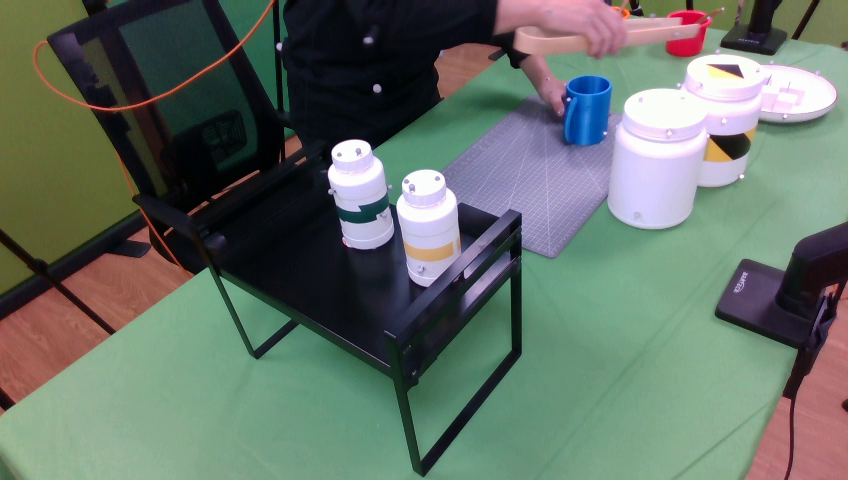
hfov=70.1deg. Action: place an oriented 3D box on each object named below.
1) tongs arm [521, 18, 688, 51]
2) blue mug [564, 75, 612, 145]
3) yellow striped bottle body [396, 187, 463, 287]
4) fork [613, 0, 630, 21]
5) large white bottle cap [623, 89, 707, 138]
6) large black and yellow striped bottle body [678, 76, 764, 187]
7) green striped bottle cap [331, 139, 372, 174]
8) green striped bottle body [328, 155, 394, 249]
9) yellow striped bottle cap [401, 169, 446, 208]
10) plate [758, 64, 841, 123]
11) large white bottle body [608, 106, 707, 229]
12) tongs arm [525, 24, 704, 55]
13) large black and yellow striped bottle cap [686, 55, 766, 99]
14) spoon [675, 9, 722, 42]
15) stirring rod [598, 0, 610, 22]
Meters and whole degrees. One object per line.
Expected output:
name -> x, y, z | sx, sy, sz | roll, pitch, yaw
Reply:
tongs arm -> 0.319, -0.350, 1.021 | 0.387, 0.026, 0.050 | -11, 40, -24
blue mug -> 0.300, -0.238, 1.142 | 0.081, 0.106, 0.117 | 28, 53, 34
yellow striped bottle body -> 0.006, -0.013, 0.638 | 0.063, 0.121, 0.062 | -5, 41, 4
fork -> 0.480, -0.556, 1.453 | 0.028, 0.019, 0.207 | 41, 103, 40
large white bottle cap -> 0.352, -0.187, 0.886 | 0.115, 0.018, 0.114 | -4, 42, 4
large black and yellow striped bottle body -> 0.482, -0.196, 1.008 | 0.131, 0.185, 0.130 | -4, 41, 4
green striped bottle cap -> -0.080, -0.092, 0.665 | 0.044, 0.020, 0.044 | -3, 40, 3
green striped bottle body -> -0.073, -0.053, 0.699 | 0.063, 0.120, 0.063 | -5, 41, 4
yellow striped bottle cap -> 0.000, -0.052, 0.605 | 0.044, 0.019, 0.044 | -4, 43, 4
plate -> 0.694, -0.283, 1.189 | 0.207, 0.039, 0.206 | -4, 40, 4
large white bottle body -> 0.362, -0.124, 0.941 | 0.130, 0.185, 0.130 | -4, 41, 4
tongs arm -> 0.332, -0.336, 1.004 | 0.390, 0.028, 0.028 | -14, 45, -27
large black and yellow striped bottle cap -> 0.474, -0.258, 0.952 | 0.115, 0.019, 0.114 | -5, 41, 5
spoon -> 0.606, -0.476, 1.345 | 0.042, 0.021, 0.193 | -6, -3, -2
stirring rod -> 0.437, -0.551, 1.462 | 0.014, 0.006, 0.175 | -11, 83, 1
